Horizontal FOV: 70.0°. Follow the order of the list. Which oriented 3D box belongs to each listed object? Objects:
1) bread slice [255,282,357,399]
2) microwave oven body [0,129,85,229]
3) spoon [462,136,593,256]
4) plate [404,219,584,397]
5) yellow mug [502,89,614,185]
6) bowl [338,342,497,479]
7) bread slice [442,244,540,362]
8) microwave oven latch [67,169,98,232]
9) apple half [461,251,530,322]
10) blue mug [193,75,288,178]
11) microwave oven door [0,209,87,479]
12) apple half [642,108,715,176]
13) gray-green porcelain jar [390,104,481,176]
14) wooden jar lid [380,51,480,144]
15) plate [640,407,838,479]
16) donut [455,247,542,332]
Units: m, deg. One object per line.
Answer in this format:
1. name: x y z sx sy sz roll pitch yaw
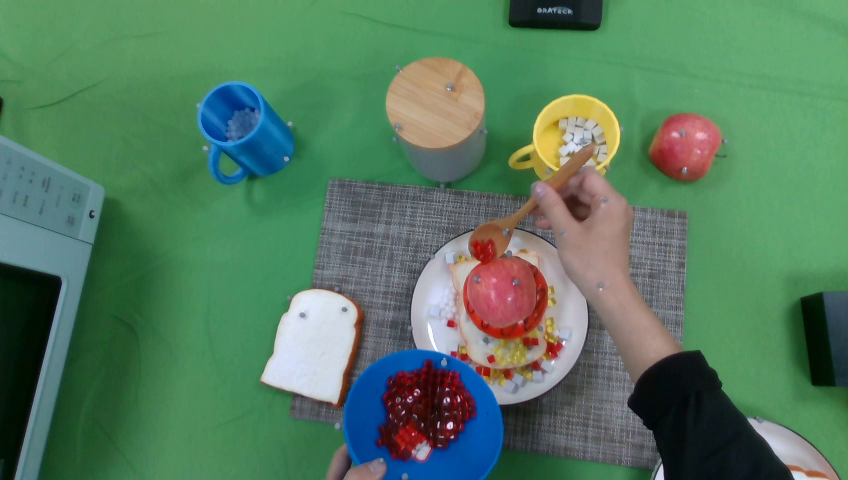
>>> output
1. bread slice: -0.141 0.116 0.740 0.104 0.019 0.131 14 82 8
2. microwave oven body: -0.626 0.085 0.671 0.325 0.261 0.440 6 80 7
3. spoon: 0.100 -0.039 0.607 0.041 0.194 0.021 45 47 -1
4. plate: 0.081 0.077 0.713 0.207 0.039 0.206 -1 79 6
5. yellow mug: 0.159 -0.118 0.734 0.131 0.064 0.099 -16 77 4
6. bowl: -0.011 0.183 0.587 0.152 0.077 0.150 7 47 -7
7. bread slice: 0.085 0.075 0.713 0.107 0.018 0.133 -11 80 4
8. microwave oven latch: -0.446 -0.051 0.778 0.030 0.029 0.079 10 80 8
9. apple half: 0.078 0.048 0.654 0.081 0.033 0.081 -3 76 11
10. blue mug: -0.234 -0.131 0.757 0.082 0.106 0.116 27 82 11
11. microwave oven door: -0.488 0.141 0.640 0.039 0.245 0.354 6 79 8
12. apple half: 0.308 -0.124 0.727 0.074 0.053 0.080 28 83 13
13. gray-green porcelain jar: 0.015 -0.140 0.723 0.106 0.127 0.105 -1 78 6
14. wooden jar lid: 0.007 -0.153 0.661 0.108 0.021 0.108 -1 77 3
15. plate: 0.333 0.285 0.648 0.209 0.038 0.208 -1 78 6
16. donut: 0.085 0.056 0.688 0.099 0.048 0.098 -1 80 7
